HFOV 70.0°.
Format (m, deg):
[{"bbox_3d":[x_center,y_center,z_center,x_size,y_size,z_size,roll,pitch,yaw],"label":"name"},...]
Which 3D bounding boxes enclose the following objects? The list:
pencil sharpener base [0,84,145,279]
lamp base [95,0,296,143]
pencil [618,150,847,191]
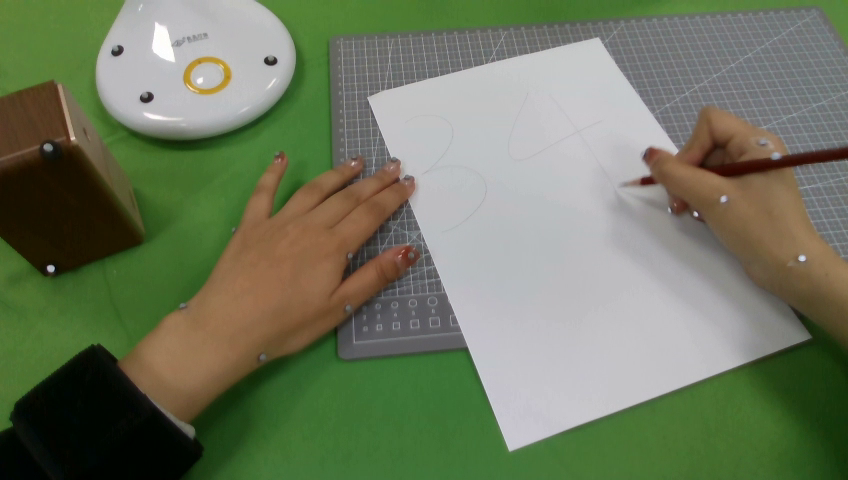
[{"bbox_3d":[-0.239,-0.032,0.386,0.077,0.108,0.061,-23,61,-13],"label":"pencil sharpener base"},{"bbox_3d":[-0.195,-0.192,0.442,0.160,0.182,0.177,-33,61,-19],"label":"lamp base"},{"bbox_3d":[0.205,-0.043,0.371,0.193,0.012,0.012,-5,44,50],"label":"pencil"}]
